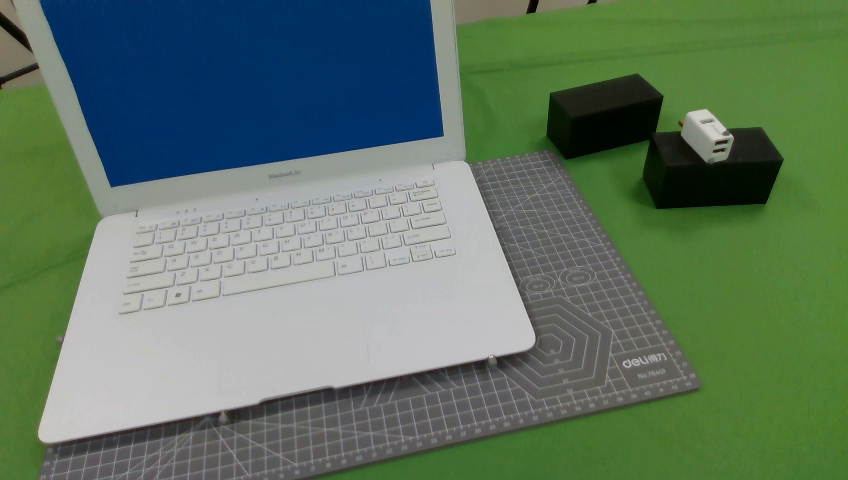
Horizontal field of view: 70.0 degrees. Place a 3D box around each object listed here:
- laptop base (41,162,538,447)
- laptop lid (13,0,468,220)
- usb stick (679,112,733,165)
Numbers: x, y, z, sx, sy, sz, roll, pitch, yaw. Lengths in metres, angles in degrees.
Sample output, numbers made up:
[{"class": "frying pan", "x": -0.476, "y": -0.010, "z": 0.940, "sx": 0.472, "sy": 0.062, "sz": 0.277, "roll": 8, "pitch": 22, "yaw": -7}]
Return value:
[{"class": "laptop base", "x": -0.108, "y": 0.035, "z": 0.508, "sx": 0.355, "sy": 0.023, "sz": 0.233, "roll": -10, "pitch": 47, "yaw": -5}, {"class": "laptop lid", "x": -0.142, "y": -0.146, "z": 0.534, "sx": 0.357, "sy": 0.243, "sz": 0.013, "roll": -11, "pitch": 29, "yaw": -5}, {"class": "usb stick", "x": 0.245, "y": -0.093, "z": 0.533, "sx": 0.021, "sy": 0.027, "sz": 0.058, "roll": -12, "pitch": 41, "yaw": -4}]
